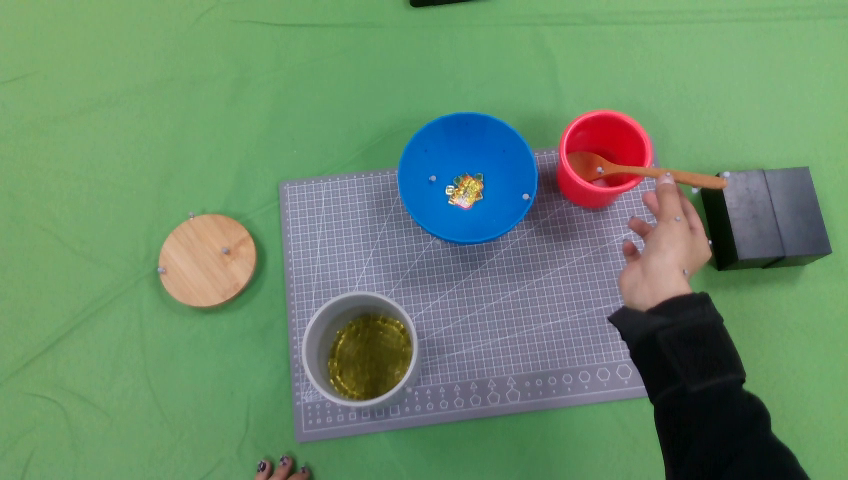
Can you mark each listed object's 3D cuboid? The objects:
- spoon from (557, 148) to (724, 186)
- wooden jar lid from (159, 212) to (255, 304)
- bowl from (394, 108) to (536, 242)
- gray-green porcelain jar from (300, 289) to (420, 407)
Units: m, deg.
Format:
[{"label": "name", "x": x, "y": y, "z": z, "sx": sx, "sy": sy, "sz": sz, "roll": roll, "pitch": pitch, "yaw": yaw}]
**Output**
[{"label": "spoon", "x": 0.220, "y": -0.074, "z": 0.642, "sx": 0.022, "sy": 0.192, "sz": 0.041, "roll": 41, "pitch": 76, "yaw": -35}, {"label": "wooden jar lid", "x": -0.245, "y": 0.022, "z": 0.691, "sx": 0.108, "sy": 0.021, "sz": 0.108, "roll": 0, "pitch": 74, "yaw": 2}, {"label": "bowl", "x": 0.045, "y": -0.061, "z": 0.676, "sx": 0.151, "sy": 0.077, "sz": 0.150, "roll": 0, "pitch": 74, "yaw": 1}, {"label": "gray-green porcelain jar", "x": -0.058, "y": 0.112, "z": 0.604, "sx": 0.106, "sy": 0.127, "sz": 0.105, "roll": 0, "pitch": 74, "yaw": 1}]
